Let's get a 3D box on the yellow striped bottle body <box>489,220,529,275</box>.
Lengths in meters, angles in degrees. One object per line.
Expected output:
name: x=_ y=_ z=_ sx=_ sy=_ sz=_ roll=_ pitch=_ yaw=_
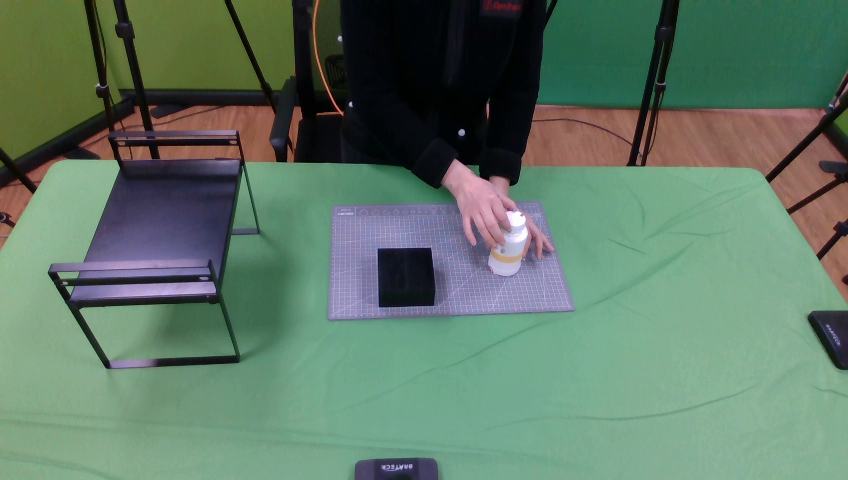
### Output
yellow striped bottle body: x=0.159 y=0.005 z=1.130 sx=0.063 sy=0.121 sz=0.062 roll=2 pitch=46 yaw=-2

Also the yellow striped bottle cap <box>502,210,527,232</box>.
yellow striped bottle cap: x=0.162 y=-0.035 z=1.088 sx=0.044 sy=0.019 sz=0.044 roll=0 pitch=41 yaw=0
